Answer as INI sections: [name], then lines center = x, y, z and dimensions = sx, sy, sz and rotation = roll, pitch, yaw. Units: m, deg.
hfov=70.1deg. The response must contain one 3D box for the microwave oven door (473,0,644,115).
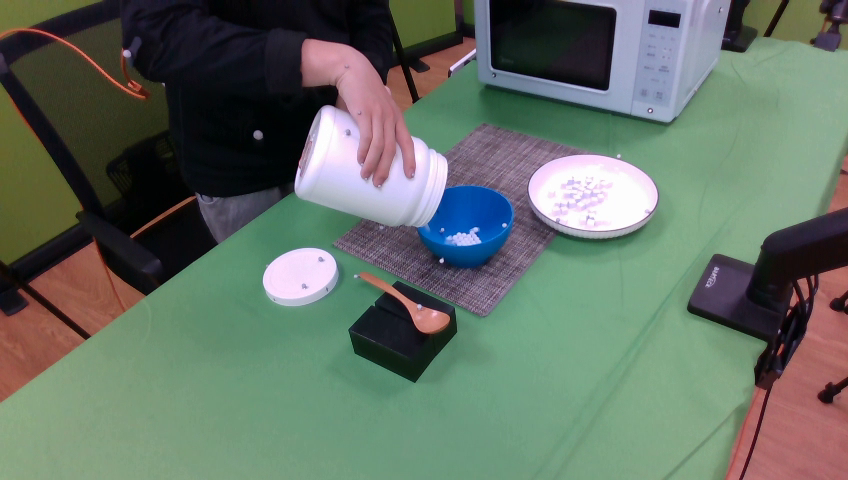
[microwave oven door]
center = 0.257, -0.396, 1.199
dimensions = 0.353, 0.245, 0.039
rotation = 21, 48, 29

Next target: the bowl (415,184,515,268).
[bowl]
center = 0.063, -0.011, 0.922
dimensions = 0.151, 0.077, 0.150
rotation = -4, 40, 4

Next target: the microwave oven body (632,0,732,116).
[microwave oven body]
center = 0.377, -0.463, 1.267
dimensions = 0.438, 0.261, 0.327
rotation = 21, 49, 30

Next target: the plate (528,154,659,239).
[plate]
center = 0.274, -0.069, 0.993
dimensions = 0.209, 0.038, 0.208
rotation = -2, 42, 2

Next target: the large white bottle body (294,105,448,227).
[large white bottle body]
center = -0.072, -0.094, 0.832
dimensions = 0.186, 0.130, 0.130
rotation = 17, 36, -19

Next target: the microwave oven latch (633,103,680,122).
[microwave oven latch]
center = 0.444, -0.249, 1.157
dimensions = 0.078, 0.029, 0.030
rotation = 21, 49, 30

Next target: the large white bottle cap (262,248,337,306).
[large white bottle cap]
center = -0.193, 0.056, 0.934
dimensions = 0.115, 0.018, 0.114
rotation = -4, 41, 4

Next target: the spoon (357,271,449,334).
[spoon]
center = -0.035, 0.078, 0.812
dimensions = 0.042, 0.022, 0.192
rotation = -34, 42, -24
